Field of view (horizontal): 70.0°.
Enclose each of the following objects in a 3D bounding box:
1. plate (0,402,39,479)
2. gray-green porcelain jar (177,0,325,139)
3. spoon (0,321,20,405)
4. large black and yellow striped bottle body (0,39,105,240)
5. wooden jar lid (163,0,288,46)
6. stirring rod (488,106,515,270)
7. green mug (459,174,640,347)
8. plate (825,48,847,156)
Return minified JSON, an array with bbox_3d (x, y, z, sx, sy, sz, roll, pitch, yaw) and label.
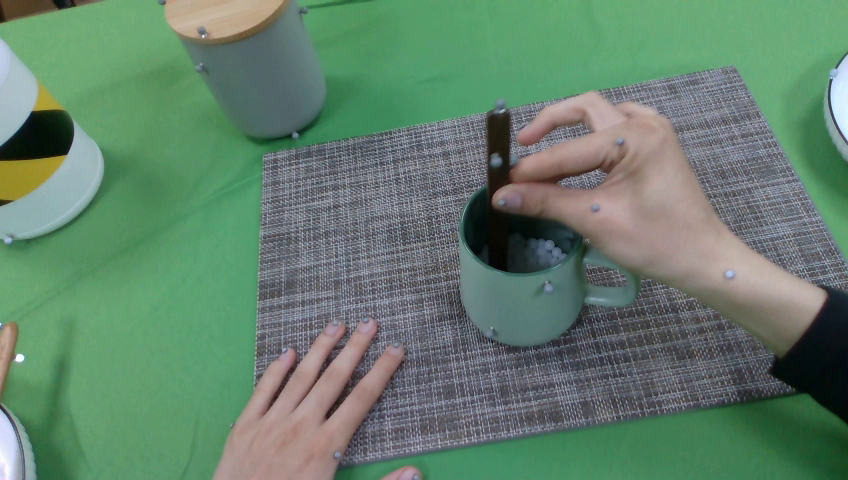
[{"bbox_3d":[-0.365,0.206,0.420,0.209,0.038,0.207,-4,58,7],"label":"plate"},{"bbox_3d":[-0.154,-0.166,0.563,0.106,0.128,0.105,-4,58,7],"label":"gray-green porcelain jar"},{"bbox_3d":[-0.309,0.147,0.429,0.041,0.022,0.192,-8,66,3],"label":"spoon"},{"bbox_3d":[-0.388,-0.098,0.523,0.130,0.186,0.129,-4,58,7],"label":"large black and yellow striped bottle body"},{"bbox_3d":[-0.164,-0.199,0.511,0.108,0.021,0.107,-4,61,7],"label":"wooden jar lid"},{"bbox_3d":[0.048,-0.019,0.387,0.014,0.178,0.005,-12,56,-2],"label":"stirring rod"},{"bbox_3d":[0.084,0.019,0.419,0.125,0.106,0.092,9,60,14],"label":"green mug"},{"bbox_3d":[0.428,-0.094,0.477,0.207,0.039,0.205,-4,58,7],"label":"plate"}]
